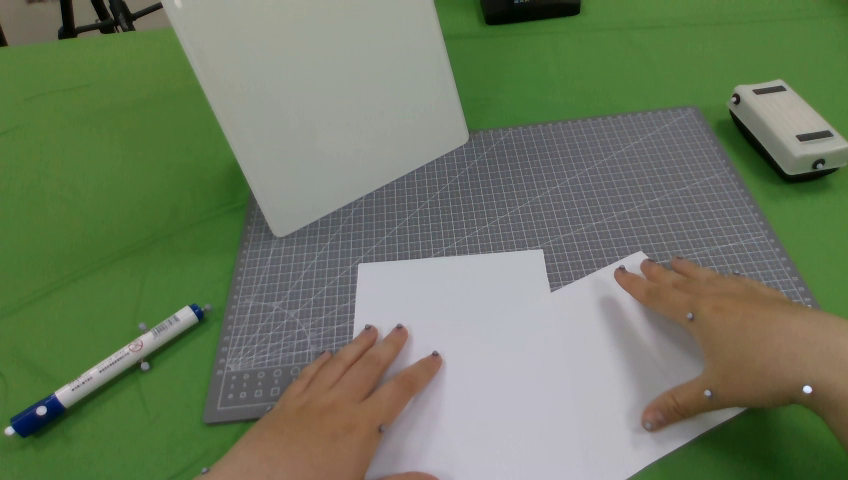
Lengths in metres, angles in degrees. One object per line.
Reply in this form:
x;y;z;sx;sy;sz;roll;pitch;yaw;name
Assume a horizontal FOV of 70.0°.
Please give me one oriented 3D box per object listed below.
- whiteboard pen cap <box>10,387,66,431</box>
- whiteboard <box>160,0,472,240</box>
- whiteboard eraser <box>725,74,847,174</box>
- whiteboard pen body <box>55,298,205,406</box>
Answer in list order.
-0.272;0.118;0.430;0.033;0.018;0.018;-38;54;-26;whiteboard pen cap
-0.116;-0.197;0.550;0.217;0.308;0.142;-29;30;-18;whiteboard
0.327;-0.106;0.552;0.055;0.042;0.111;-12;48;-2;whiteboard eraser
-0.229;0.088;0.455;0.140;0.017;0.017;-37;54;-25;whiteboard pen body
